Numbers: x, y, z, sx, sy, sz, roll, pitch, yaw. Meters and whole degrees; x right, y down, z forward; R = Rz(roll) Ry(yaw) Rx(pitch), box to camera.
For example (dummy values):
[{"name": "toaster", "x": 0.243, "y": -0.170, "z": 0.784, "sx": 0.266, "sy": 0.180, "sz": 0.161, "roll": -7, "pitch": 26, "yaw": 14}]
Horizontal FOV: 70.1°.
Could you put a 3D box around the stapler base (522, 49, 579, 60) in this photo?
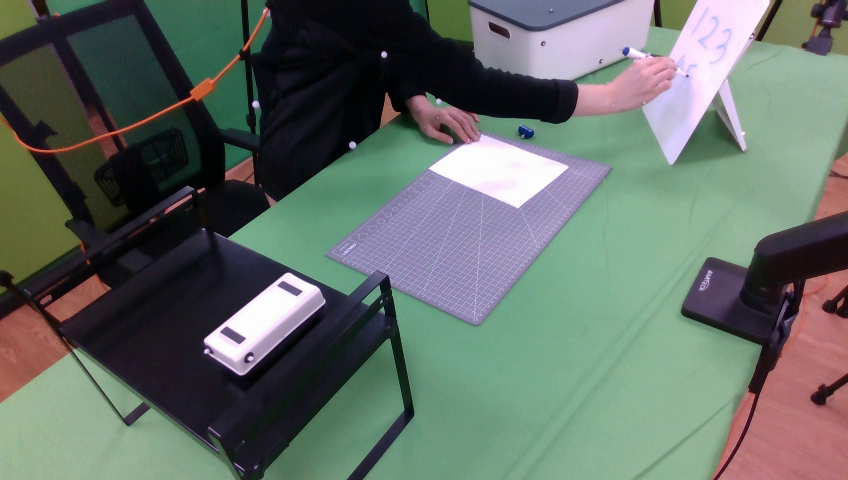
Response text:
[{"name": "stapler base", "x": 0.300, "y": -0.441, "z": 1.434, "sx": 0.130, "sy": 0.024, "sz": 0.041, "roll": 3, "pitch": 23, "yaw": 18}]

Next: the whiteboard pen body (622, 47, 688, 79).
[{"name": "whiteboard pen body", "x": 0.407, "y": -0.306, "z": 1.057, "sx": 0.141, "sy": 0.017, "sz": 0.017, "roll": 16, "pitch": 37, "yaw": -18}]

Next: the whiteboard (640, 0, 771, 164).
[{"name": "whiteboard", "x": 0.543, "y": -0.299, "z": 1.076, "sx": 0.144, "sy": 0.305, "sz": 0.216, "roll": 12, "pitch": 40, "yaw": -7}]

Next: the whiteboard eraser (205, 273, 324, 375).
[{"name": "whiteboard eraser", "x": -0.157, "y": 0.084, "z": 0.605, "sx": 0.055, "sy": 0.042, "sz": 0.113, "roll": 24, "pitch": 49, "yaw": 30}]

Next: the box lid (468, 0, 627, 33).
[{"name": "box lid", "x": 0.312, "y": -0.554, "z": 1.358, "sx": 0.373, "sy": 0.015, "sz": 0.261, "roll": -26, "pitch": 44, "yaw": -20}]

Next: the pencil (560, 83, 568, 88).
[{"name": "pencil", "x": 0.248, "y": -0.394, "z": 1.398, "sx": 0.193, "sy": 0.012, "sz": 0.012, "roll": 33, "pitch": 53, "yaw": 23}]

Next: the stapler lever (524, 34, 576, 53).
[{"name": "stapler lever", "x": 0.297, "y": -0.462, "z": 1.424, "sx": 0.117, "sy": 0.040, "sz": 0.027, "roll": 5, "pitch": 24, "yaw": 17}]

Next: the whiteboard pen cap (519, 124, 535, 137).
[{"name": "whiteboard pen cap", "x": 0.206, "y": -0.218, "z": 1.205, "sx": 0.018, "sy": 0.018, "sz": 0.033, "roll": -27, "pitch": 45, "yaw": -22}]

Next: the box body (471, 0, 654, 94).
[{"name": "box body", "x": 0.319, "y": -0.498, "z": 1.405, "sx": 0.365, "sy": 0.161, "sz": 0.252, "roll": -26, "pitch": 43, "yaw": -21}]
